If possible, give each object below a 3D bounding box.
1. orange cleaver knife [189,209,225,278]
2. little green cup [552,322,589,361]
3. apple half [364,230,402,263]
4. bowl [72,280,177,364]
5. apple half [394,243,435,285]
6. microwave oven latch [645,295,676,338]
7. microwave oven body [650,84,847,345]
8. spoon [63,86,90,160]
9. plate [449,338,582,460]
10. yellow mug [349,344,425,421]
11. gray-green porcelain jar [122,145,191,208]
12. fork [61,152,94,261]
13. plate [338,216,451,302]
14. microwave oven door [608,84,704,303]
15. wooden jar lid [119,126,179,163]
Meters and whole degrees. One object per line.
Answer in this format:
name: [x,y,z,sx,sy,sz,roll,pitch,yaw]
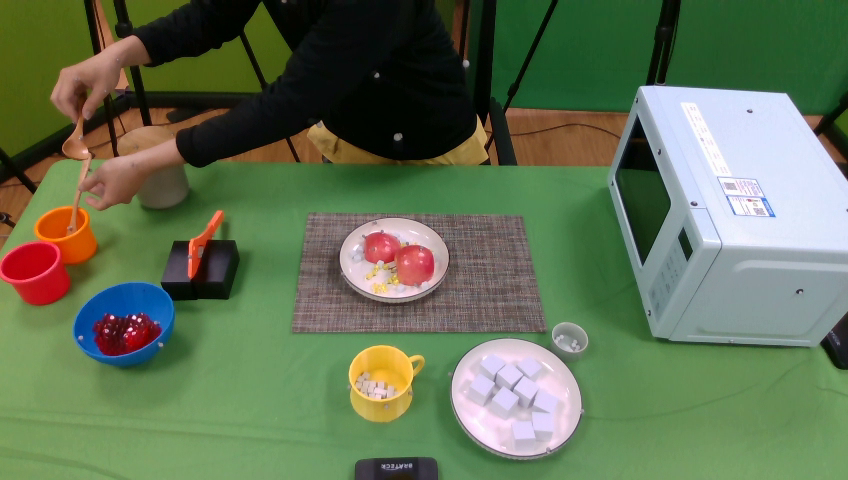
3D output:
orange cleaver knife: [-0.400,0.002,1.122,0.012,0.077,0.210,4,23,-4]
little green cup: [0.247,0.175,1.034,0.061,0.039,0.061,1,44,-1]
apple half: [-0.079,0.005,1.159,0.081,0.033,0.081,3,49,-3]
bowl: [-0.473,0.147,0.982,0.151,0.077,0.150,2,46,-2]
apple half: [-0.017,0.036,1.121,0.075,0.053,0.080,1,46,-6]
microwave oven latch: [0.412,0.133,1.061,0.030,0.029,0.078,3,46,0]
microwave oven body: [0.569,-0.054,1.115,0.326,0.261,0.439,2,46,-1]
spoon: [-0.596,-0.206,1.052,0.042,0.021,0.192,13,47,-35]
plate: [0.141,0.251,0.955,0.208,0.039,0.206,2,46,-2]
yellow mug: [-0.054,0.217,0.954,0.131,0.064,0.099,-24,52,-25]
gray-green porcelain jar: [-0.531,-0.137,1.213,0.106,0.127,0.105,2,46,-2]
fork: [-0.637,-0.063,1.119,0.028,0.019,0.207,11,90,15]
plate: [-0.054,0.038,1.138,0.209,0.038,0.208,2,46,-2]
microwave oven door: [0.424,-0.096,1.137,0.039,0.245,0.353,2,46,-1]
wooden jar lid: [-0.527,-0.181,1.167,0.108,0.021,0.107,4,47,-4]
